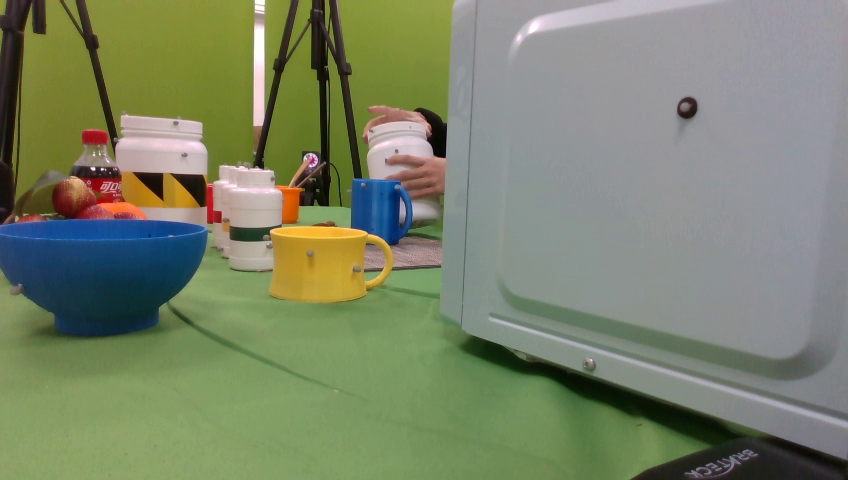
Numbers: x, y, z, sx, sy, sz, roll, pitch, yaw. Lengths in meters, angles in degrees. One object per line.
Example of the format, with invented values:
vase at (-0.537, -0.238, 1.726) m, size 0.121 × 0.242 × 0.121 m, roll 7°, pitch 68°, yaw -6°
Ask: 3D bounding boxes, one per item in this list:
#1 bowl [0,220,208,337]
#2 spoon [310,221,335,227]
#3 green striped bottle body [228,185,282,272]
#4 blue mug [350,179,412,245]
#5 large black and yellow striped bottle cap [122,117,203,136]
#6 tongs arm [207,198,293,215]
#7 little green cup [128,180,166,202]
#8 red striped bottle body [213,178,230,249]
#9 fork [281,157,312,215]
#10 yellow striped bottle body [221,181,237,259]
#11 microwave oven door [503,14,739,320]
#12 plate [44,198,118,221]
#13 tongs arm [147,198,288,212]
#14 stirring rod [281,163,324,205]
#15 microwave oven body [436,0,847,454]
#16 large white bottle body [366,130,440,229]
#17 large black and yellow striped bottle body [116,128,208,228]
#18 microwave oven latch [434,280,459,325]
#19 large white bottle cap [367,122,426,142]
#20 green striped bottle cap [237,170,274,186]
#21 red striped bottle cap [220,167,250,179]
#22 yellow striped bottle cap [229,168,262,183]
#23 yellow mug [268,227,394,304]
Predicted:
bowl at (-0.251, 0.029, 0.479) m, size 0.151 × 0.077 × 0.151 m, roll 2°, pitch 7°, yaw 0°
spoon at (-0.185, -0.027, 1.131) m, size 0.041 × 0.021 × 0.193 m, roll -18°, pitch 6°, yaw 2°
green striped bottle body at (-0.208, -0.023, 0.745) m, size 0.063 × 0.119 × 0.063 m, roll 2°, pitch 7°, yaw 0°
blue mug at (-0.068, -0.046, 1.000) m, size 0.116 × 0.106 × 0.083 m, roll 8°, pitch 9°, yaw 32°
large black and yellow striped bottle cap at (-0.399, -0.174, 0.927) m, size 0.115 × 0.019 × 0.115 m, roll 5°, pitch 9°, yaw -1°
tongs arm at (-0.423, -0.084, 1.472) m, size 0.050 × 0.026 × 0.386 m, roll 1°, pitch 6°, yaw 22°
little green cup at (-0.485, -0.087, 1.062) m, size 0.061 × 0.038 × 0.061 m, roll -1°, pitch 6°, yaw 0°
red striped bottle body at (-0.284, -0.048, 0.909) m, size 0.063 × 0.119 × 0.063 m, roll 3°, pitch 10°, yaw 0°
fork at (-0.289, -0.116, 1.321) m, size 0.028 × 0.019 × 0.207 m, roll 7°, pitch 51°, yaw 18°
yellow striped bottle body at (-0.244, -0.035, 0.823) m, size 0.063 × 0.120 × 0.063 m, roll 2°, pitch 8°, yaw 0°
microwave oven door at (0.217, -0.065, 0.601) m, size 0.358 × 0.243 × 0.039 m, roll -4°, pitch 10°, yaw -41°
plate at (-0.617, -0.056, 1.179) m, size 0.209 × 0.038 × 0.209 m, roll 3°, pitch 7°, yaw 0°
tongs arm at (-0.503, -0.090, 1.513) m, size 0.028 × 0.028 × 0.389 m, roll -1°, pitch 3°, yaw 38°
stirring rod at (-0.278, -0.105, 1.293) m, size 0.176 × 0.006 × 0.014 m, roll -47°, pitch 25°, yaw -18°
microwave oven body at (0.279, -0.040, 0.465) m, size 0.444 × 0.260 × 0.324 m, roll -3°, pitch 9°, yaw -41°
large white bottle body at (-0.041, -0.118, 1.154) m, size 0.131 × 0.184 × 0.130 m, roll -9°, pitch -7°, yaw -1°
large black and yellow striped bottle body at (-0.404, -0.089, 0.937) m, size 0.131 × 0.184 × 0.130 m, roll 3°, pitch 7°, yaw 0°
microwave oven latch at (0.044, 0.045, 0.470) m, size 0.079 × 0.029 × 0.030 m, roll -2°, pitch 8°, yaw -39°
large white bottle cap at (-0.053, -0.203, 1.162) m, size 0.115 × 0.018 × 0.115 m, roll -6°, pitch -5°, yaw 0°
green striped bottle cap at (-0.205, -0.075, 0.737) m, size 0.044 × 0.020 × 0.044 m, roll 1°, pitch 6°, yaw 0°
red striped bottle cap at (-0.281, -0.100, 0.901) m, size 0.044 × 0.017 × 0.044 m, roll -1°, pitch 4°, yaw 0°
yellow striped bottle cap at (-0.240, -0.087, 0.816) m, size 0.044 × 0.018 × 0.044 m, roll -3°, pitch 5°, yaw 1°
yellow mug at (-0.094, 0.023, 0.630) m, size 0.131 × 0.064 × 0.099 m, roll 0°, pitch 8°, yaw -22°
